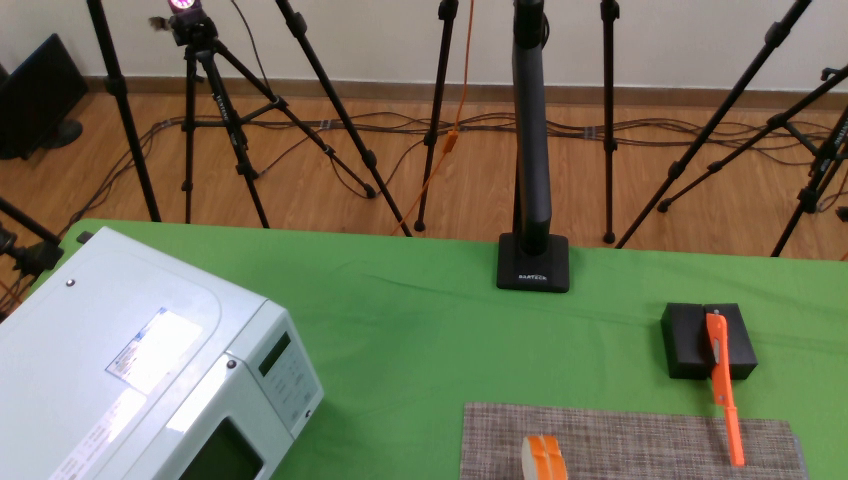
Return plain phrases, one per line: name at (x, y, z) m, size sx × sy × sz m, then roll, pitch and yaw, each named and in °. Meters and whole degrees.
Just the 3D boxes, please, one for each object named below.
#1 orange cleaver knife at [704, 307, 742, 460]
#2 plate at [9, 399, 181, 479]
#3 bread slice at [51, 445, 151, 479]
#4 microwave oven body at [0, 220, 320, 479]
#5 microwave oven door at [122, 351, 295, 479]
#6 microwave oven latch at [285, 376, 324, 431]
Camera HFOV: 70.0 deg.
orange cleaver knife at (0.410, 0.193, 0.839) m, size 0.012 × 0.077 × 0.210 m, roll -2°, pitch 73°, yaw 6°
plate at (-0.412, 0.305, 0.767) m, size 0.208 × 0.039 × 0.205 m, roll 0°, pitch 50°, yaw 0°
bread slice at (-0.408, 0.329, 0.756) m, size 0.134 × 0.018 × 0.106 m, roll -14°, pitch 51°, yaw -19°
microwave oven body at (-0.394, 0.246, 0.742) m, size 0.324 × 0.262 × 0.439 m, roll 21°, pitch 57°, yaw 19°
microwave oven door at (-0.285, 0.321, 0.669) m, size 0.039 × 0.246 × 0.354 m, roll 20°, pitch 56°, yaw 20°
microwave oven latch at (-0.174, 0.228, 0.862) m, size 0.030 × 0.030 × 0.079 m, roll 22°, pitch 58°, yaw 20°
